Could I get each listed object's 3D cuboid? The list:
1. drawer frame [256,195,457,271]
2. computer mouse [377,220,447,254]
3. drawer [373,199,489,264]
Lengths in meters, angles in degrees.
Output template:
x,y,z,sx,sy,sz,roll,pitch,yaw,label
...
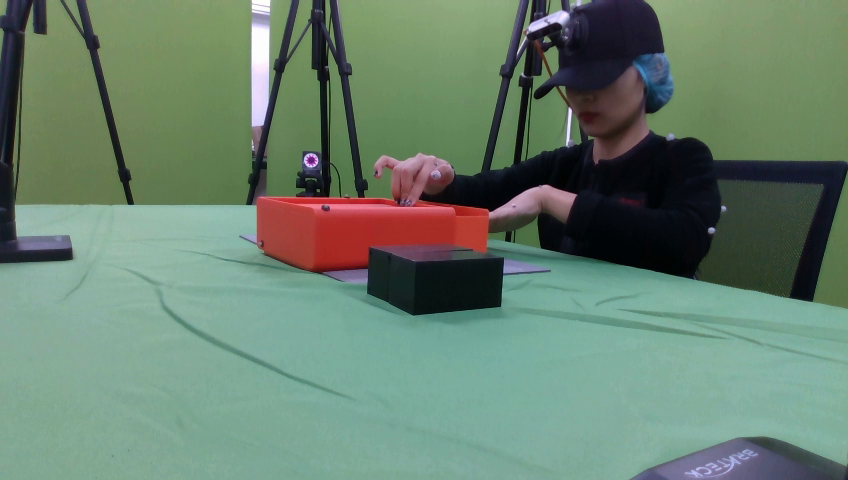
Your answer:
x,y,z,sx,sy,sz,roll,pitch,yaw,label
-0.097,-0.018,0.843,0.215,0.082,0.200,-4,10,-35,drawer frame
-0.019,-0.005,0.890,0.063,0.041,0.116,1,13,-33,computer mouse
-0.046,-0.017,0.880,0.213,0.073,0.193,-4,10,-35,drawer
